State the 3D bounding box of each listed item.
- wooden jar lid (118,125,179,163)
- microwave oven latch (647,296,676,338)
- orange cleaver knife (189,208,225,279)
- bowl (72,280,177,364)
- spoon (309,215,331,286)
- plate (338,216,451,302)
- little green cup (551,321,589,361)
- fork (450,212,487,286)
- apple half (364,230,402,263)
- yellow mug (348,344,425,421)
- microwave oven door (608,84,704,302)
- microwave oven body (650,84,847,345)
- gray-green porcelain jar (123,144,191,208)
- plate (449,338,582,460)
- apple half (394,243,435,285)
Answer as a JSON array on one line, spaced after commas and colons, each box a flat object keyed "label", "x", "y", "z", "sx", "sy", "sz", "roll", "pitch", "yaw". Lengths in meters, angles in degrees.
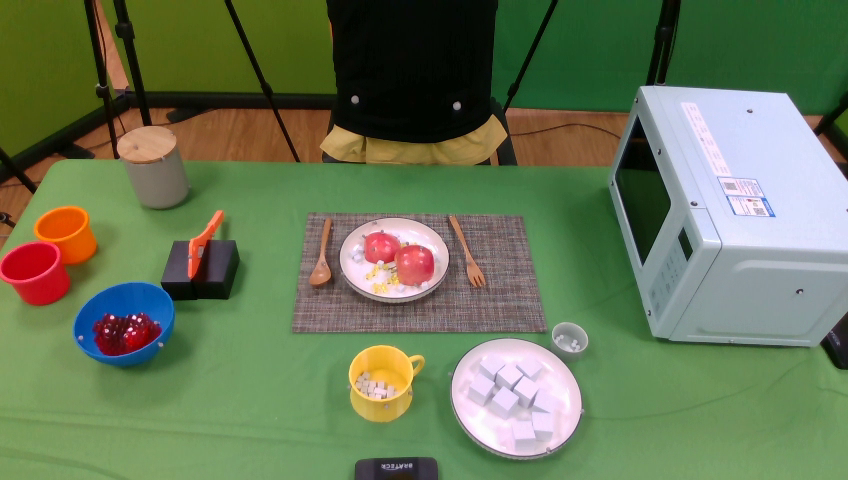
[{"label": "wooden jar lid", "x": -0.528, "y": -0.181, "z": 1.167, "sx": 0.108, "sy": 0.021, "sz": 0.107, "roll": 4, "pitch": 48, "yaw": -4}, {"label": "microwave oven latch", "x": 0.413, "y": 0.133, "z": 1.060, "sx": 0.030, "sy": 0.029, "sz": 0.078, "roll": 4, "pitch": 46, "yaw": 1}, {"label": "orange cleaver knife", "x": -0.400, "y": 0.002, "z": 1.122, "sx": 0.012, "sy": 0.077, "sz": 0.210, "roll": 4, "pitch": 23, "yaw": -4}, {"label": "bowl", "x": -0.472, "y": 0.147, "z": 0.982, "sx": 0.151, "sy": 0.077, "sz": 0.150, "roll": 2, "pitch": 46, "yaw": -2}, {"label": "spoon", "x": -0.191, "y": 0.016, "z": 1.159, "sx": 0.041, "sy": 0.022, "sz": 0.192, "roll": -14, "pitch": 46, "yaw": 13}, {"label": "plate", "x": -0.054, "y": 0.038, "z": 1.138, "sx": 0.209, "sy": 0.038, "sz": 0.208, "roll": 2, "pitch": 46, "yaw": -2}, {"label": "little green cup", "x": 0.247, "y": 0.175, "z": 1.033, "sx": 0.061, "sy": 0.039, "sz": 0.061, "roll": 2, "pitch": 45, "yaw": -2}, {"label": "fork", "x": 0.082, "y": 0.014, "z": 1.183, "sx": 0.028, "sy": 0.019, "sz": 0.206, "roll": -18, "pitch": 50, "yaw": -1}, {"label": "apple half", "x": -0.079, "y": 0.005, "z": 1.159, "sx": 0.081, "sy": 0.033, "sz": 0.081, "roll": 3, "pitch": 49, "yaw": -3}, {"label": "yellow mug", "x": -0.054, "y": 0.217, "z": 0.954, "sx": 0.131, "sy": 0.064, "sz": 0.099, "roll": -24, "pitch": 53, "yaw": -25}, {"label": "microwave oven door", "x": 0.424, "y": -0.096, "z": 1.138, "sx": 0.039, "sy": 0.245, "sz": 0.353, "roll": 3, "pitch": 46, "yaw": -1}, {"label": "microwave oven body", "x": 0.569, "y": -0.054, "z": 1.116, "sx": 0.326, "sy": 0.261, "sz": 0.439, "roll": 2, "pitch": 46, "yaw": -1}, {"label": "gray-green porcelain jar", "x": -0.531, "y": -0.137, "z": 1.214, "sx": 0.106, "sy": 0.127, "sz": 0.105, "roll": 2, "pitch": 46, "yaw": -2}, {"label": "plate", "x": 0.141, "y": 0.251, "z": 0.955, "sx": 0.208, "sy": 0.039, "sz": 0.206, "roll": 2, "pitch": 46, "yaw": -2}, {"label": "apple half", "x": -0.017, "y": 0.036, "z": 1.120, "sx": 0.075, "sy": 0.053, "sz": 0.080, "roll": 1, "pitch": 46, "yaw": -6}]
